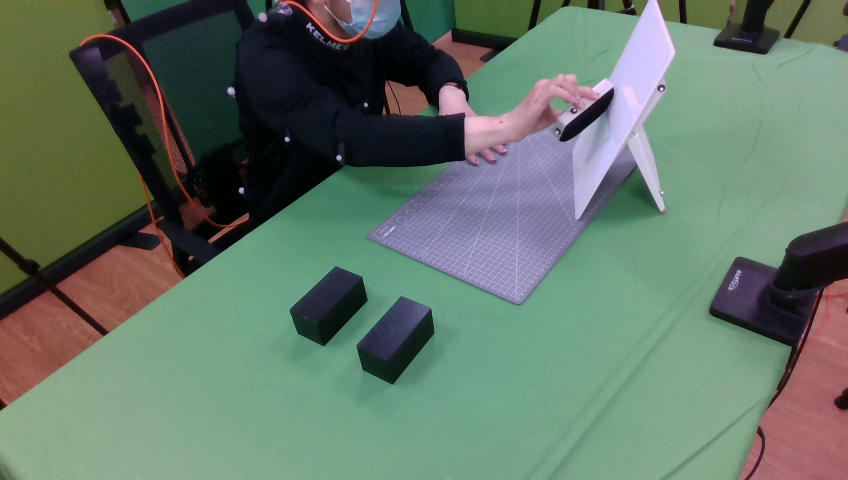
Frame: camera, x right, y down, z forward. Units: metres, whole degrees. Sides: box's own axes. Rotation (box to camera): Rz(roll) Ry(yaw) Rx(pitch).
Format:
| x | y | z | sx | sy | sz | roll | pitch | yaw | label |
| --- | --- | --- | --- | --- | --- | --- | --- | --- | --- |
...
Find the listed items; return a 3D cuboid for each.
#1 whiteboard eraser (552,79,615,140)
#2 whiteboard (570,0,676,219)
| x | y | z | sx | sy | sz | roll | pitch | yaw | label |
| --- | --- | --- | --- | --- | --- | --- | --- | --- | --- |
| 0.263 | -0.210 | 0.985 | 0.113 | 0.056 | 0.041 | -41 | 76 | -13 | whiteboard eraser |
| 0.364 | -0.187 | 0.965 | 0.144 | 0.305 | 0.216 | 18 | 42 | -3 | whiteboard |
